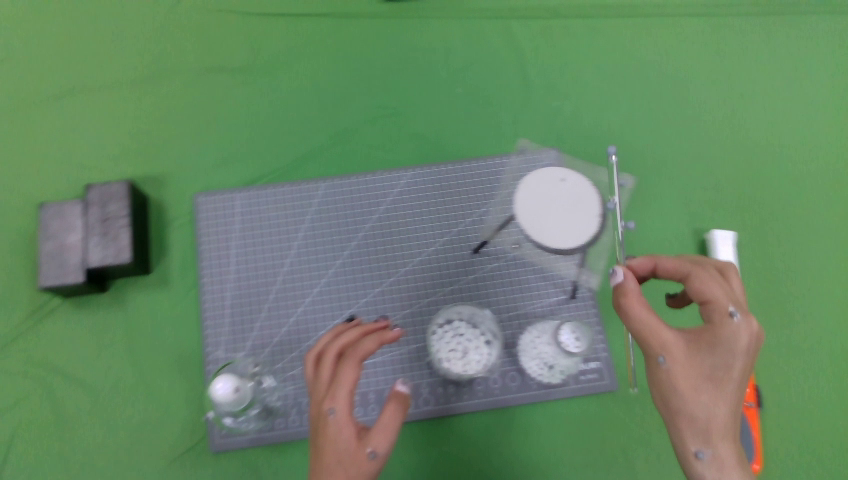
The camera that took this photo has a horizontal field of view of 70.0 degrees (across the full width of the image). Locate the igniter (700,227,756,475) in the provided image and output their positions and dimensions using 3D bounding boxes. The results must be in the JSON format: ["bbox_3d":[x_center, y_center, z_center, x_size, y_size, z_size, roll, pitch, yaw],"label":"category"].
[{"bbox_3d":[0.341,0.119,0.684,0.057,0.025,0.275,6,73,-11],"label":"igniter"}]

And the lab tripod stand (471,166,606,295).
[{"bbox_3d":[0.129,-0.011,0.656,0.148,0.132,0.147,0,75,0],"label":"lab tripod stand"}]

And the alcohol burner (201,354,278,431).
[{"bbox_3d":[-0.190,0.152,0.608,0.078,0.119,0.077,0,75,-1],"label":"alcohol burner"}]

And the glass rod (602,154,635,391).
[{"bbox_3d":[0.135,0.032,0.414,0.008,0.201,0.008,-12,30,7],"label":"glass rod"}]

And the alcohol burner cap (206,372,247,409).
[{"bbox_3d":[-0.189,0.140,0.574,0.034,0.048,0.033,2,66,-3],"label":"alcohol burner cap"}]

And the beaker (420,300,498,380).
[{"bbox_3d":[0.036,0.110,0.635,0.074,0.101,0.083,-43,80,-12],"label":"beaker"}]

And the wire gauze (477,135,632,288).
[{"bbox_3d":[0.128,-0.032,0.592,0.125,0.011,0.121,23,76,5],"label":"wire gauze"}]

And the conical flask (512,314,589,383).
[{"bbox_3d":[0.137,0.106,0.628,0.075,0.122,0.075,1,73,-1],"label":"conical flask"}]
